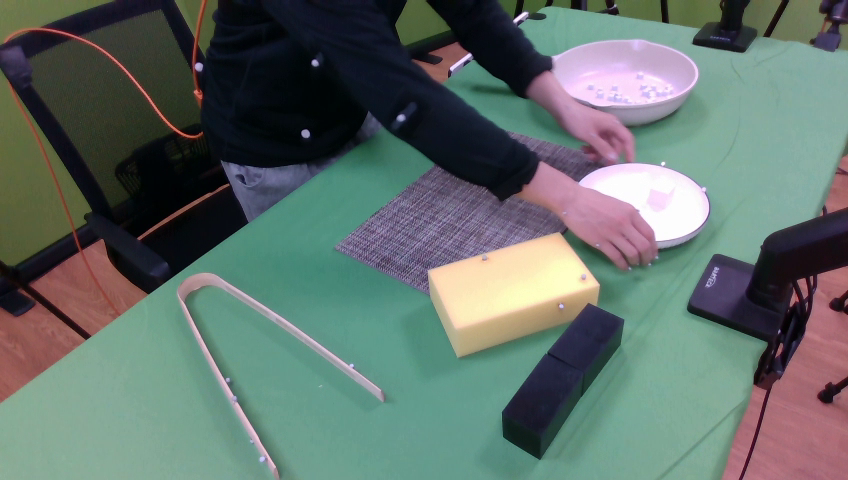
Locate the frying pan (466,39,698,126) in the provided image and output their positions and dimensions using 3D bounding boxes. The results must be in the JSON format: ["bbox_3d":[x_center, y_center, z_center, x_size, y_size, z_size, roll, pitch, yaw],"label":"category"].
[{"bbox_3d":[0.312,-0.359,1.277,0.485,0.103,0.307,23,47,19],"label":"frying pan"}]

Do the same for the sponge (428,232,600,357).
[{"bbox_3d":[0.120,0.072,0.834,0.207,0.061,0.117,-15,43,-12],"label":"sponge"}]

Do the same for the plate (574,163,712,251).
[{"bbox_3d":[0.345,-0.050,0.967,0.207,0.039,0.206,-4,41,4],"label":"plate"}]

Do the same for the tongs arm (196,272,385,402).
[{"bbox_3d":[-0.198,0.125,0.846,0.384,0.028,0.028,25,53,33],"label":"tongs arm"}]

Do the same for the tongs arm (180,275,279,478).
[{"bbox_3d":[-0.259,0.161,0.807,0.051,0.026,0.381,-29,44,-24],"label":"tongs arm"}]
